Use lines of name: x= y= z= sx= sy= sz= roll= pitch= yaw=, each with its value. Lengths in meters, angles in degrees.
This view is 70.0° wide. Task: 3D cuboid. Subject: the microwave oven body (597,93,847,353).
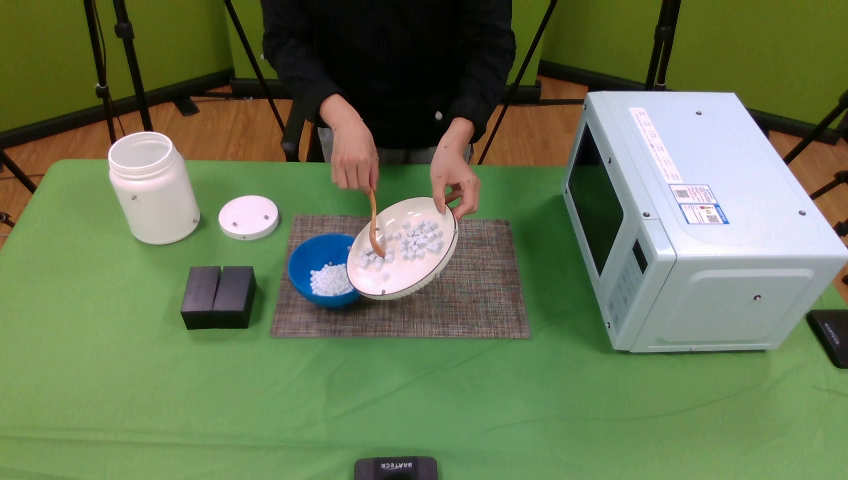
microwave oven body: x=0.475 y=-0.041 z=1.109 sx=0.326 sy=0.261 sz=0.438 roll=-1 pitch=45 yaw=-4

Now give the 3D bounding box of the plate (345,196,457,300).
plate: x=-0.036 y=0.016 z=1.010 sx=0.209 sy=0.038 sz=0.208 roll=-20 pitch=44 yaw=20

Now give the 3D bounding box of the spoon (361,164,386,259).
spoon: x=-0.092 y=-0.053 z=1.068 sx=0.042 sy=0.021 sz=0.193 roll=2 pitch=67 yaw=-25

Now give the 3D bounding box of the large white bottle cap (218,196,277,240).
large white bottle cap: x=-0.354 y=-0.045 z=1.220 sx=0.115 sy=0.018 sz=0.114 roll=2 pitch=46 yaw=-2

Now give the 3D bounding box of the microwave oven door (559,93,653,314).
microwave oven door: x=0.327 y=-0.074 z=1.123 sx=0.039 sy=0.245 sz=0.353 roll=-1 pitch=46 yaw=-5

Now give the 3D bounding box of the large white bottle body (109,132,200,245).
large white bottle body: x=-0.506 y=-0.097 z=1.141 sx=0.131 sy=0.185 sz=0.130 roll=2 pitch=46 yaw=-2

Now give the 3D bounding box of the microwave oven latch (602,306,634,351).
microwave oven latch: x=0.332 y=0.153 z=1.044 sx=0.030 sy=0.029 sz=0.078 roll=0 pitch=45 yaw=-4

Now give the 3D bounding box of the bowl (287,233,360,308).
bowl: x=-0.164 y=0.068 z=1.078 sx=0.151 sy=0.077 sz=0.150 roll=3 pitch=45 yaw=-3
